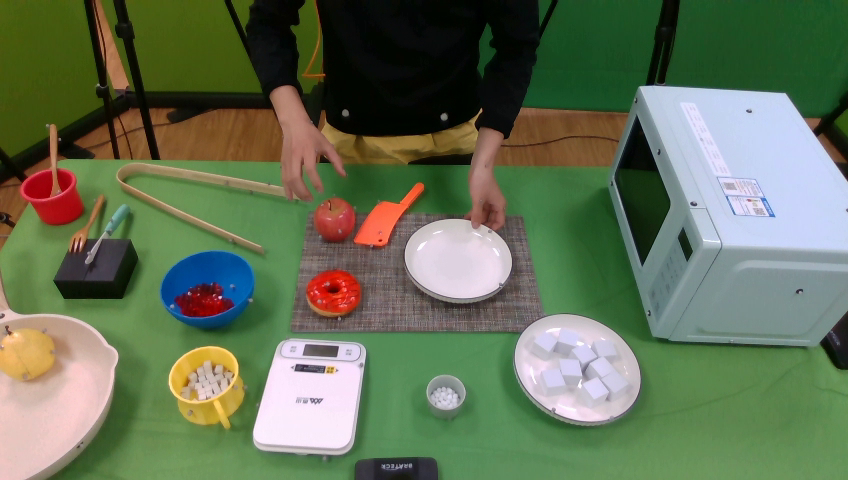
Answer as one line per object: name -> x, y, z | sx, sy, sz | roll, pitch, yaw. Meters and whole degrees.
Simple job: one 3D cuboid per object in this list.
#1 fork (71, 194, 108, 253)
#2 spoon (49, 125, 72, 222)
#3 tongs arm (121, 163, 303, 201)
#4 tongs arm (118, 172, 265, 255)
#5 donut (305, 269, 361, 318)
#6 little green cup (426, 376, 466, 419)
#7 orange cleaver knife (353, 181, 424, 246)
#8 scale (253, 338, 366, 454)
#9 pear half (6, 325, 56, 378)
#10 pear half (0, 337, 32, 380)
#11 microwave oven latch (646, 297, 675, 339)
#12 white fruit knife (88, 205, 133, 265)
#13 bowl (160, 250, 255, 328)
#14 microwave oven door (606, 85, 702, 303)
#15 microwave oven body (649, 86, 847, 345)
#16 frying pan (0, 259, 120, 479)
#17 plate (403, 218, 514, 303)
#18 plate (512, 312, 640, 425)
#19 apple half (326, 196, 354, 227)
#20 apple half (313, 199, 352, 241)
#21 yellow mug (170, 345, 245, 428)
fork -> -0.634, -0.036, 1.158 | 0.028, 0.019, 0.206 | -8, 32, -8
spoon -> -0.718, -0.131, 1.189 | 0.041, 0.021, 0.193 | -4, 90, -6
tongs arm -> -0.444, -0.114, 1.266 | 0.384, 0.026, 0.050 | 12, 51, 7
tongs arm -> -0.473, -0.054, 1.211 | 0.386, 0.028, 0.028 | 23, 57, 17
donut -> -0.160, 0.094, 1.075 | 0.099, 0.048, 0.098 | 4, 45, -3
little green cup -> 0.033, 0.248, 0.950 | 0.061, 0.039, 0.061 | 2, 46, -2
orange cleaver knife -> -0.069, -0.059, 1.245 | 0.077, 0.012, 0.210 | 18, 50, 22
scale -> -0.175, 0.236, 0.951 | 0.149, 0.032, 0.199 | 4, 45, 0
pear half -> -0.608, 0.158, 0.935 | 0.076, 0.110, 0.056 | 31, 51, 20
pear half -> -0.631, 0.184, 0.921 | 0.070, 0.088, 0.031 | 29, 49, 19
microwave oven latch -> 0.412, 0.134, 1.061 | 0.030, 0.029, 0.078 | 4, 45, 1
white fruit knife -> -0.584, -0.013, 1.129 | 0.016, 0.027, 0.206 | 0, 32, -5
bowl -> -0.362, 0.098, 1.040 | 0.151, 0.077, 0.150 | 2, 45, -2
microwave oven door -> 0.422, -0.094, 1.140 | 0.039, 0.245, 0.353 | 2, 46, -1
microwave oven body -> 0.567, -0.053, 1.118 | 0.326, 0.261, 0.439 | 2, 45, -1
frying pan -> -0.647, 0.164, 0.936 | 0.307, 0.103, 0.485 | -19, 58, -22
plate -> 0.064, 0.042, 1.146 | 0.209, 0.038, 0.208 | 2, 46, -2
plate -> 0.246, 0.213, 0.999 | 0.208, 0.039, 0.206 | 2, 46, -2
apple half -> -0.160, -0.054, 1.196 | 0.081, 0.082, 0.033 | 34, 56, 26
apple half -> -0.185, -0.032, 1.176 | 0.080, 0.075, 0.053 | 34, 57, 23
yellow mug -> -0.322, 0.230, 0.922 | 0.100, 0.064, 0.130 | -24, 53, -25
